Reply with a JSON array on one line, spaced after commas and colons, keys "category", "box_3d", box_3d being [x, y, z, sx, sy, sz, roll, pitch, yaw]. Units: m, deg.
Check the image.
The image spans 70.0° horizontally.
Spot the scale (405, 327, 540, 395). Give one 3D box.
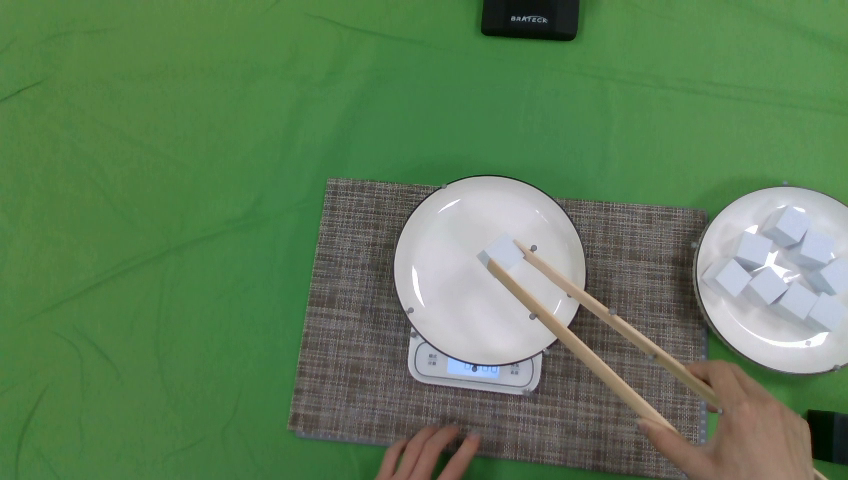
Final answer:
[{"category": "scale", "box_3d": [0.061, 0.067, 0.685, 0.148, 0.032, 0.200, 6, 79, 5]}]

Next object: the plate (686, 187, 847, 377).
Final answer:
[{"category": "plate", "box_3d": [0.393, 0.046, 0.669, 0.207, 0.039, 0.206, -1, 78, 3]}]

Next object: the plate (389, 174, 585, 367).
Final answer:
[{"category": "plate", "box_3d": [0.067, 0.032, 0.658, 0.209, 0.038, 0.208, -1, 78, 3]}]

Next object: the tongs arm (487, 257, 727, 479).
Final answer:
[{"category": "tongs arm", "box_3d": [0.194, 0.142, 0.522, 0.028, 0.028, 0.384, -36, 65, -23]}]

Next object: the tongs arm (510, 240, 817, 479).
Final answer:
[{"category": "tongs arm", "box_3d": [0.210, 0.129, 0.529, 0.382, 0.027, 0.050, 38, 67, 21]}]
